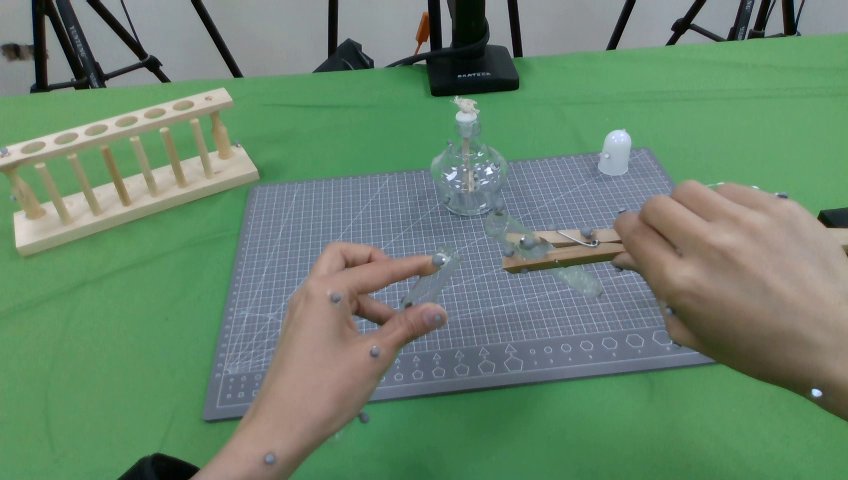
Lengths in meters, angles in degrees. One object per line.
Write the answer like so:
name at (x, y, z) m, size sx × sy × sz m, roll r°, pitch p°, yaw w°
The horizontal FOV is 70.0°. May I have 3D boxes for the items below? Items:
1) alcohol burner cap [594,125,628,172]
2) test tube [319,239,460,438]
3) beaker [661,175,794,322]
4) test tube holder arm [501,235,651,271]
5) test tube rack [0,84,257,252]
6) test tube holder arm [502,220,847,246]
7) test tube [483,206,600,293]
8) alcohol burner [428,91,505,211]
alcohol burner cap at (0.202, -0.101, 0.650) m, size 0.034 × 0.048 × 0.033 m, roll -2°, pitch 42°, yaw 2°
test tube at (-0.024, 0.063, 0.364) m, size 0.017 × 0.151 × 0.017 m, roll 30°, pitch 16°, yaw -9°
beaker at (0.231, 0.009, 0.481) m, size 0.074 × 0.101 × 0.083 m, roll -26°, pitch 46°, yaw -23°
test tube holder arm at (0.086, 0.006, 0.351) m, size 0.087 × 0.015 × 0.010 m, roll -12°, pitch 68°, yaw 35°
test tube rack at (-0.309, -0.080, 0.629) m, size 0.243 × 0.086 × 0.066 m, roll -22°, pitch 45°, yaw -20°
test tube holder arm at (0.122, -0.003, 0.326) m, size 0.177 × 0.015 × 0.013 m, roll -2°, pitch 74°, yaw 38°
test tube at (0.080, 0.010, 0.383) m, size 0.017 × 0.152 × 0.017 m, roll -14°, pitch 65°, yaw 32°
alcohol burner at (0.041, -0.089, 0.592) m, size 0.078 × 0.120 × 0.077 m, roll -3°, pitch 40°, yaw 3°
